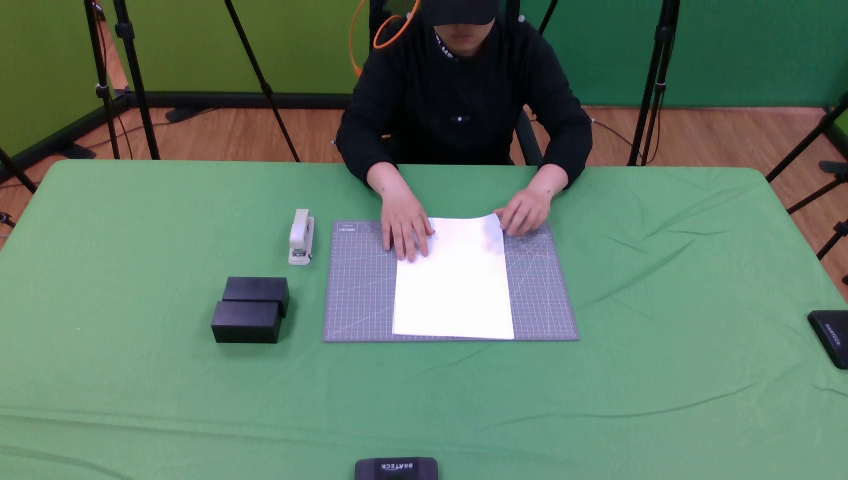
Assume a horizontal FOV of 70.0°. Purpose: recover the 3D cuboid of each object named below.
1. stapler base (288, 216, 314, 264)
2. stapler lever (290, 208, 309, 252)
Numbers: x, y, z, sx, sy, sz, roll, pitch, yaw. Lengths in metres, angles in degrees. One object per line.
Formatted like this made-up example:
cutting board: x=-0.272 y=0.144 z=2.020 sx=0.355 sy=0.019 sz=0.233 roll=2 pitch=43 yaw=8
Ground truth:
stapler base: x=-0.241 y=-0.007 z=1.185 sx=0.041 sy=0.024 sz=0.129 roll=1 pitch=44 yaw=-6
stapler lever: x=-0.240 y=-0.026 z=1.168 sx=0.027 sy=0.040 sz=0.117 roll=1 pitch=44 yaw=-6
